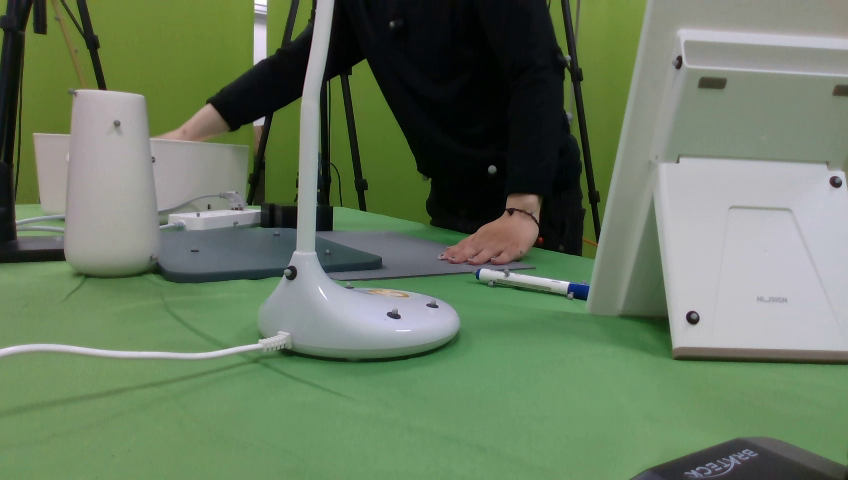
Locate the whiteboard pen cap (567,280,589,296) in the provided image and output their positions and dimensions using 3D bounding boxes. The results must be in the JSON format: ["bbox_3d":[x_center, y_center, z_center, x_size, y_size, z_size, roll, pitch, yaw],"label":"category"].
[{"bbox_3d":[0.171,0.052,0.648,0.033,0.018,0.018,9,10,30],"label":"whiteboard pen cap"}]

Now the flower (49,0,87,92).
[{"bbox_3d":[-0.361,-0.141,0.659,0.038,0.361,0.044,-13,11,11],"label":"flower"}]

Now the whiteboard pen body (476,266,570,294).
[{"bbox_3d":[0.123,0.046,0.679,0.140,0.017,0.017,8,9,30],"label":"whiteboard pen body"}]

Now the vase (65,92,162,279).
[{"bbox_3d":[-0.347,-0.060,0.673,0.098,0.200,0.098,1,7,0],"label":"vase"}]

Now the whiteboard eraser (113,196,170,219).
[{"bbox_3d":[-0.546,-0.063,1.174,0.055,0.042,0.113,7,6,4],"label":"whiteboard eraser"}]

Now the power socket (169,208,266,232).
[{"bbox_3d":[-0.379,-0.038,1.129,0.072,0.032,0.227,4,8,18],"label":"power socket"}]

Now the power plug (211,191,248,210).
[{"bbox_3d":[-0.384,-0.072,1.206,0.072,0.052,0.035,1,8,28],"label":"power plug"}]

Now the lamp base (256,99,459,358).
[{"bbox_3d":[-0.055,-0.013,0.463,0.160,0.180,0.180,6,11,27],"label":"lamp base"}]

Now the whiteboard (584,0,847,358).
[{"bbox_3d":[0.269,-0.034,0.466,0.217,0.305,0.143,2,27,-1],"label":"whiteboard"}]

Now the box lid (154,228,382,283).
[{"bbox_3d":[-0.250,0.014,0.853,0.265,0.015,0.369,-3,9,-32],"label":"box lid"}]

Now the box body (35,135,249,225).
[{"bbox_3d":[-0.561,-0.127,1.258,0.254,0.160,0.365,4,8,13],"label":"box body"}]
